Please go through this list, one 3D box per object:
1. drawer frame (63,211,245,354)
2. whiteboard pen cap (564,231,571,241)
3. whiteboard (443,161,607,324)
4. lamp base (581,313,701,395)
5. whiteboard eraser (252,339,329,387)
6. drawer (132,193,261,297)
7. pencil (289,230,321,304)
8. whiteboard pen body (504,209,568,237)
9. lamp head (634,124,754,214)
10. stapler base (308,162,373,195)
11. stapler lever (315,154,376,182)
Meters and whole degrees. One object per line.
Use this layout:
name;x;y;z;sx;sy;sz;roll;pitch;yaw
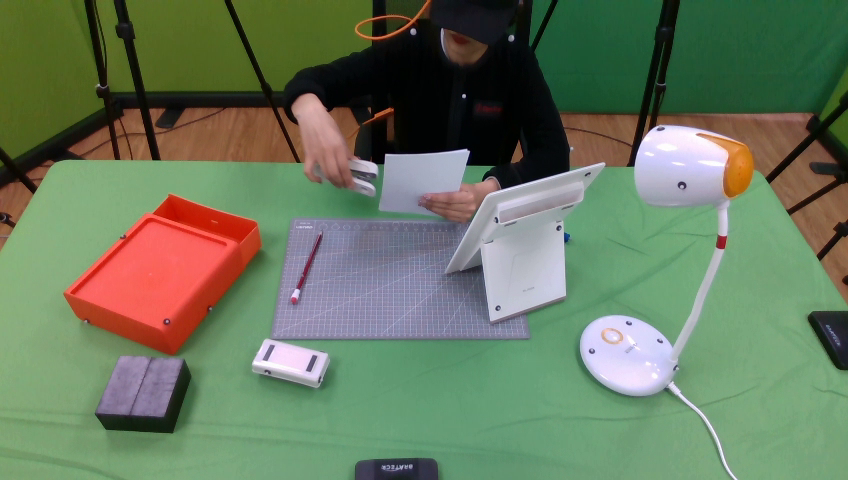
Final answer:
drawer frame;-0.459;0.067;1.056;0.201;0.083;0.212;17;48;11
whiteboard pen cap;0.281;-0.011;1.230;0.033;0.018;0.018;25;50;16
whiteboard;0.185;0.026;1.028;0.217;0.306;0.143;-15;68;-18
lamp base;0.361;0.144;0.973;0.178;0.181;0.160;34;53;23
whiteboard eraser;-0.215;0.199;0.976;0.112;0.042;0.055;12;45;7
drawer;-0.437;0.027;1.098;0.194;0.073;0.211;18;48;12
pencil;-0.221;0.045;1.141;0.012;0.012;0.193;8;44;4
whiteboard pen body;0.230;-0.034;1.248;0.140;0.017;0.017;23;49;16
lamp head;0.351;-0.089;0.776;0.112;0.113;0.122;-30;30;-28
stapler base;-0.154;-0.120;1.145;0.130;0.041;0.024;18;67;4
stapler lever;-0.147;-0.142;1.153;0.118;0.027;0.040;19;67;4
